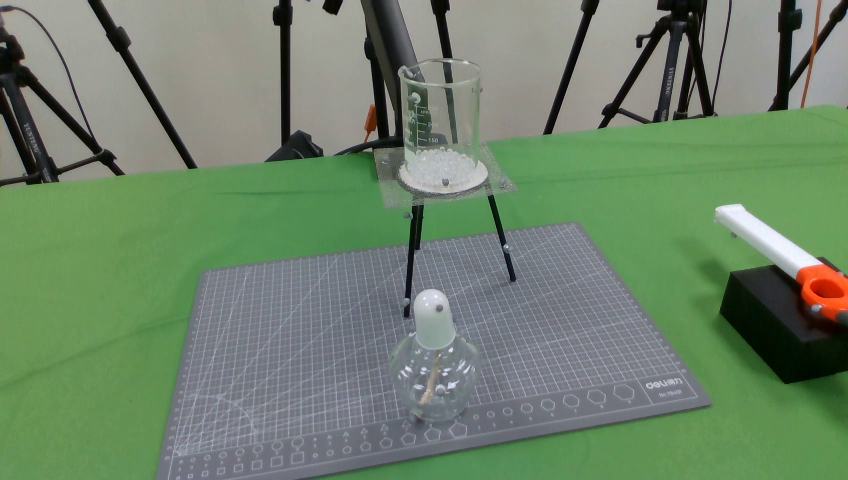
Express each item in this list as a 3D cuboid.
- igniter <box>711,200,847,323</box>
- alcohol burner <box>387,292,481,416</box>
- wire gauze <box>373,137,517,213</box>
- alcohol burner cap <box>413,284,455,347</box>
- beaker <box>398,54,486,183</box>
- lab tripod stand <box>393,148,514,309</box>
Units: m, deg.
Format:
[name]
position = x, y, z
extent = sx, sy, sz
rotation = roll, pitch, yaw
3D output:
[igniter]
position = 0.353, 0.032, 0.544
extent = 0.057, 0.025, 0.273
rotation = -9, 31, -8
[alcohol burner]
position = 0.008, 0.085, 0.488
extent = 0.078, 0.120, 0.077
rotation = -1, 36, 1
[wire gauze]
position = 0.015, -0.070, 0.581
extent = 0.121, 0.011, 0.123
rotation = -7, 36, -6
[alcohol burner cap]
position = 0.007, 0.055, 0.468
extent = 0.034, 0.048, 0.033
rotation = -4, 38, 3
[beaker]
position = 0.013, -0.111, 0.555
extent = 0.074, 0.101, 0.083
rotation = -29, 42, -35
[lab tripod stand]
position = 0.022, -0.017, 0.621
extent = 0.148, 0.132, 0.147
rotation = -1, 33, 1
